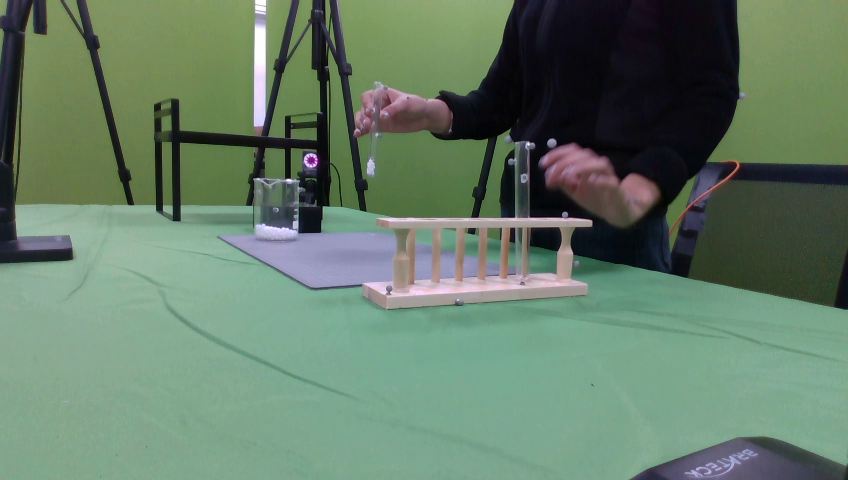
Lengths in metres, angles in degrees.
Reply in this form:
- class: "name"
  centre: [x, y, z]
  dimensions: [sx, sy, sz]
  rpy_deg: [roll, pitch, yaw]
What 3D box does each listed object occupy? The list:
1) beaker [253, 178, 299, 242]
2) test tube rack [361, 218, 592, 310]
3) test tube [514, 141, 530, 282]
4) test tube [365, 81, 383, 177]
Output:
- class: "beaker"
  centre: [-0.243, -0.050, 0.990]
  dimensions: [0.074, 0.100, 0.084]
  rpy_deg: [2, 9, 1]
- class: "test tube rack"
  centre: [0.060, 0.018, 0.640]
  dimensions: [0.243, 0.085, 0.066]
  rpy_deg: [-1, 8, -27]
- class: "test tube"
  centre: [0.103, -0.028, 0.636]
  dimensions: [0.017, 0.150, 0.017]
  rpy_deg: [-2, 12, 1]
- class: "test tube"
  centre: [-0.079, -0.174, 0.950]
  dimensions: [0.017, 0.150, 0.017]
  rpy_deg: [6, 0, 0]
